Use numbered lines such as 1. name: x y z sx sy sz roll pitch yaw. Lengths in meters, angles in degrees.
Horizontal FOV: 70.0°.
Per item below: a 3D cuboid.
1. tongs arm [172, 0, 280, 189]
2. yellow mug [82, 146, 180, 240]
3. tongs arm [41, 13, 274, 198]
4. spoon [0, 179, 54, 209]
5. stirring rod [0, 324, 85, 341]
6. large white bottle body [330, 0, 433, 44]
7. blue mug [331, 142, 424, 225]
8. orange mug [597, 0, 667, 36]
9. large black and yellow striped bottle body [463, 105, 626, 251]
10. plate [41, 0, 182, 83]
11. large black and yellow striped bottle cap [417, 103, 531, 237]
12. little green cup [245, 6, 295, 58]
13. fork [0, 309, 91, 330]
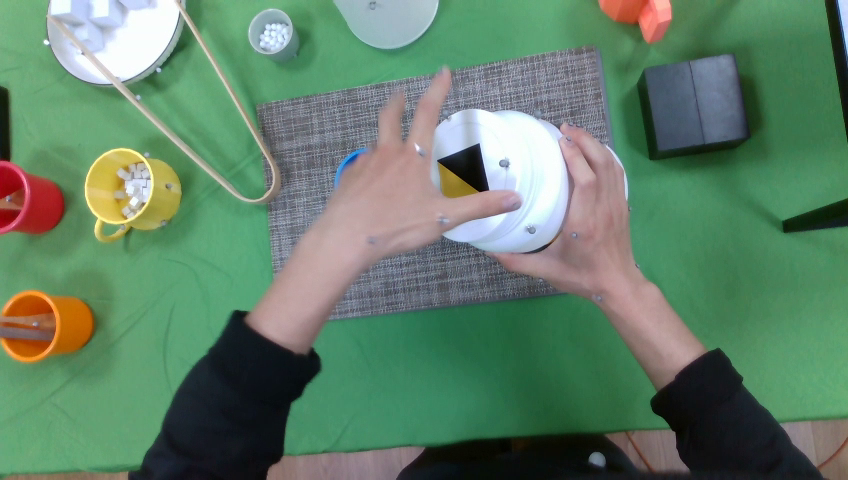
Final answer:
1. tongs arm: -0.291 -0.238 0.804 0.028 0.028 0.387 -32 88 -3
2. yellow mug: -0.398 -0.056 0.809 0.099 0.064 0.131 31 92 10
3. tongs arm: -0.355 -0.183 0.807 0.384 0.026 0.051 44 90 2
4. spoon: -0.596 -0.040 0.800 0.194 0.022 0.041 -25 77 -38
5. stirring rod: -0.536 0.116 0.778 0.006 0.177 0.014 -24 61 50
6. large white bottle body: -0.064 -0.330 0.717 0.130 0.185 0.130 -1 85 10
7. blue mug: -0.041 -0.060 0.729 0.116 0.106 0.082 18 88 10
8. orange mug: 0.252 -0.309 0.709 0.083 0.101 0.125 -18 79 8
9. large black and yellow striped bottle body: 0.097 -0.056 0.585 0.130 0.185 0.130 -2 87 42
10. plate: -0.432 -0.318 0.849 0.207 0.039 0.207 -1 86 9
11. large black and yellow striped bottle cap: 0.039 -0.059 0.520 0.114 0.019 0.115 0 91 44
12. little green cup: -0.203 -0.275 0.809 0.061 0.039 0.061 -1 87 9
13. fork: -0.546 0.099 0.778 0.209 0.018 0.028 9 84 -34
